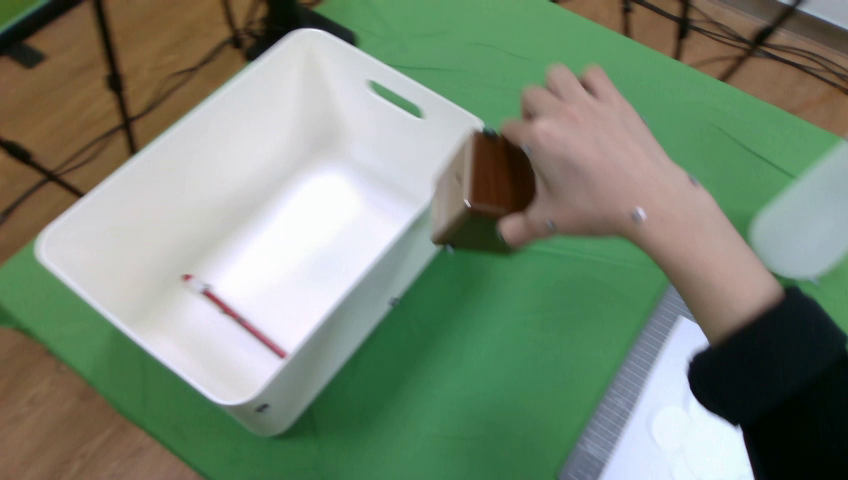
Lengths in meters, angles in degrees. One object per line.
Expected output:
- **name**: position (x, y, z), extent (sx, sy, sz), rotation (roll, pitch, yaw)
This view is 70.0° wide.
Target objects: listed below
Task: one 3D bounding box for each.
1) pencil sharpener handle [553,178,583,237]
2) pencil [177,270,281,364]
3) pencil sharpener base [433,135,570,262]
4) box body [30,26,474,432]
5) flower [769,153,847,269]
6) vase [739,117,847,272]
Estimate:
- **pencil sharpener handle**: position (0.109, -0.021, 0.464), extent (0.031, 0.068, 0.035), rotation (9, 66, -11)
- **pencil**: position (-0.198, 0.092, 0.648), extent (0.193, 0.012, 0.012), rotation (37, 65, 15)
- **pencil sharpener base**: position (0.057, -0.027, 0.466), extent (0.077, 0.107, 0.061), rotation (9, 73, -11)
- **box body**: position (-0.147, -0.017, 0.632), extent (0.253, 0.161, 0.363), rotation (31, 64, 15)
- **flower**: position (0.429, -0.101, 0.588), extent (0.044, 0.364, 0.038), rotation (24, 44, 16)
- **vase**: position (0.425, -0.047, 0.653), extent (0.098, 0.201, 0.097), rotation (1, 58, -1)
